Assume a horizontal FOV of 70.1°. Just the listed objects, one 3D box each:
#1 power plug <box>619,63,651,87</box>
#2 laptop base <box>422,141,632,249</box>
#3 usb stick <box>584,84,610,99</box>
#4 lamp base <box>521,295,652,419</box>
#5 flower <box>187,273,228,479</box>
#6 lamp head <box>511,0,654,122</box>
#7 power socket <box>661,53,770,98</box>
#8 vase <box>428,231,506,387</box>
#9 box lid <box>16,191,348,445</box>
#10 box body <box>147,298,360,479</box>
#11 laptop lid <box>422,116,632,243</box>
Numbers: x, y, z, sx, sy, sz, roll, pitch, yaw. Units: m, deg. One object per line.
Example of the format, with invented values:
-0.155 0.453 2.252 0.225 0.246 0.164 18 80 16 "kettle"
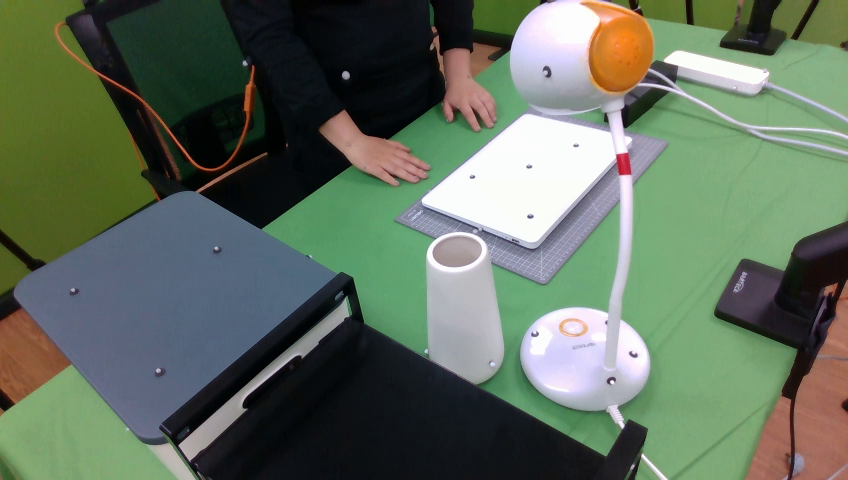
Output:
0.435 -0.341 1.265 0.035 0.053 0.072 5 31 -14 "power plug"
0.192 -0.117 1.087 0.233 0.023 0.355 21 47 34 "laptop base"
0.353 -0.306 1.252 0.027 0.021 0.058 0 0 -40 "usb stick"
0.200 0.095 0.710 0.161 0.181 0.178 -16 43 -10 "lamp base"
-0.283 0.161 0.819 0.044 0.038 0.359 10 34 -22 "flower"
0.155 -0.168 0.564 0.113 0.113 0.122 -18 23 -12 "lamp head"
0.617 -0.355 1.292 0.225 0.033 0.072 29 53 35 "power socket"
0.050 0.087 0.728 0.098 0.201 0.097 -3 40 3 "vase"
-0.295 0.062 0.723 0.368 0.015 0.264 26 51 34 "box lid"
-0.288 0.118 0.772 0.361 0.161 0.255 26 50 33 "box body"
0.189 -0.126 1.081 0.239 0.013 0.358 23 48 35 "laptop lid"
